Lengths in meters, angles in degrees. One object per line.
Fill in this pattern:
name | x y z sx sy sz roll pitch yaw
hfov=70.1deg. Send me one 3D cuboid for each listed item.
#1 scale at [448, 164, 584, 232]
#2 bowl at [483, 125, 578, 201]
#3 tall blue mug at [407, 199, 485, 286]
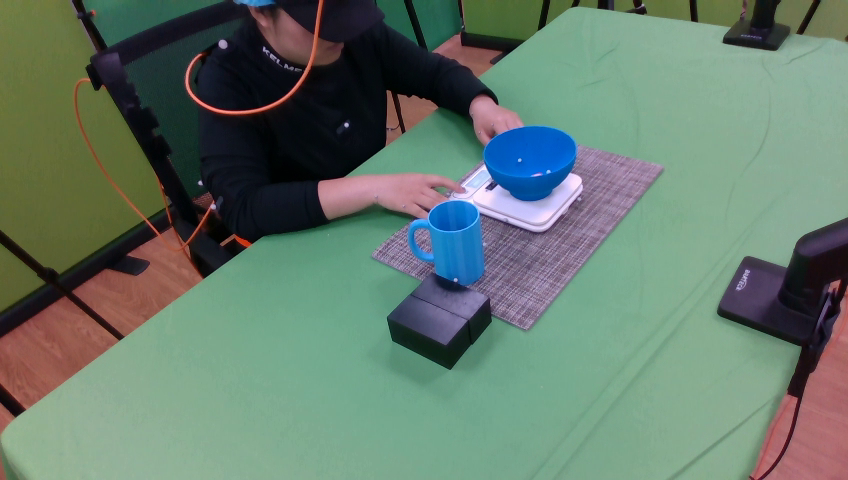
scale | 0.156 -0.085 1.040 0.199 0.032 0.149 22 49 33
bowl | 0.175 -0.117 0.991 0.151 0.077 0.150 -6 41 5
tall blue mug | 0.034 0.008 0.892 0.107 0.108 0.077 -13 41 -5
